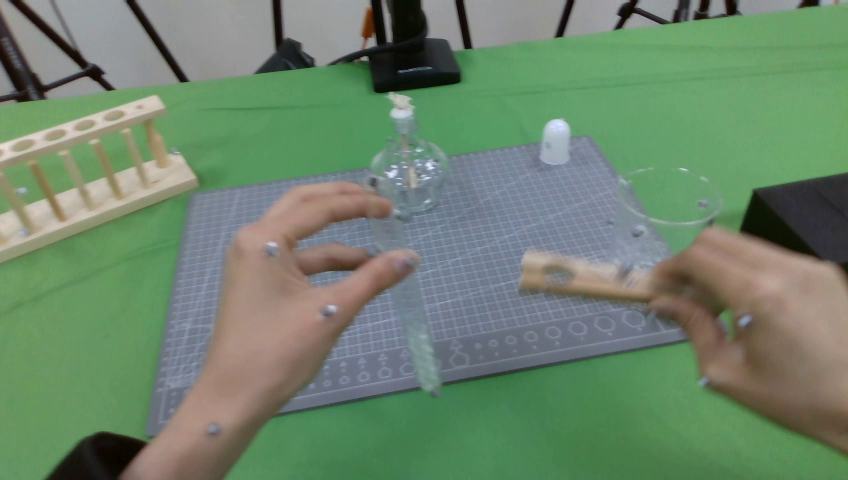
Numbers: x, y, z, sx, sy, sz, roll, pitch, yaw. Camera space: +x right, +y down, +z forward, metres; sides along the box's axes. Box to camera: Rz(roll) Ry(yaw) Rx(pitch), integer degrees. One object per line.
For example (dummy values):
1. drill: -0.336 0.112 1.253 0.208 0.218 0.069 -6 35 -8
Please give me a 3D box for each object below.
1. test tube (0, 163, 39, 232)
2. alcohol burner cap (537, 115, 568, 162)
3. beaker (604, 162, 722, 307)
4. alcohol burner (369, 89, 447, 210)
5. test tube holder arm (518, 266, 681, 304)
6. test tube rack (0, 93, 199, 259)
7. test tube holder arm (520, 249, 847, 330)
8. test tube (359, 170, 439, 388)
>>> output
1. test tube: -0.397 -0.068 0.555 0.017 0.152 0.017 -3 41 3
2. alcohol burner cap: 0.140 -0.112 0.654 0.034 0.048 0.033 -2 42 2
3. beaker: 0.183 -0.003 0.487 0.074 0.101 0.083 -30 47 -25
4. alcohol burner: -0.017 -0.090 0.589 0.078 0.120 0.077 -4 41 3
5. test tube holder arm: 0.097 0.026 0.340 0.087 0.015 0.010 5 62 9
6. test tube rack: -0.368 -0.061 0.612 0.242 0.086 0.066 -26 46 -22
7. test tube holder arm: 0.142 0.027 0.335 0.178 0.015 0.013 9 63 11
8. test tube: -0.011 0.029 0.340 0.017 0.151 0.017 -9 34 6
